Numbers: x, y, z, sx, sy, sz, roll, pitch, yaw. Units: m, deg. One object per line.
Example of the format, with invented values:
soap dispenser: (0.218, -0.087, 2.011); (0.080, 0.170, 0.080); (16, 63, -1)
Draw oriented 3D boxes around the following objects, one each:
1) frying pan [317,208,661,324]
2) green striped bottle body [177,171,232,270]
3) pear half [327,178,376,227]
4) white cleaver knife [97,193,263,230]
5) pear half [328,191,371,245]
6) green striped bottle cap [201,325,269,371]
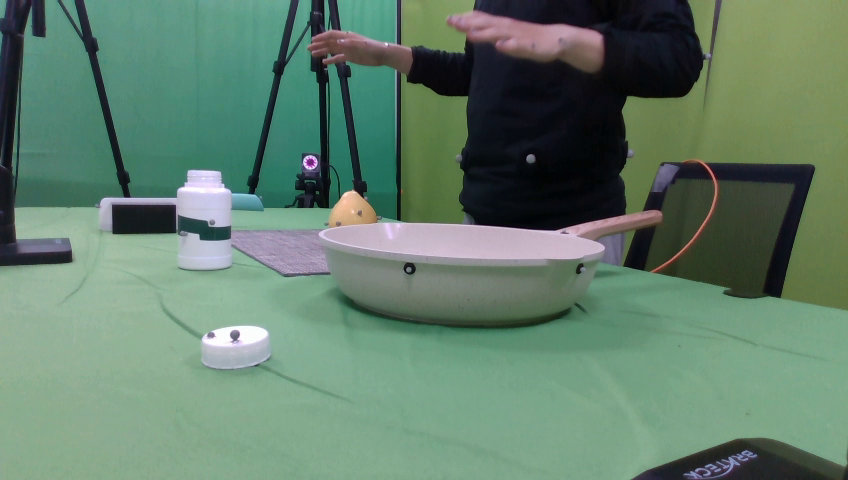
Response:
frying pan: (0.121, 0.006, 0.691); (0.490, 0.102, 0.305); (-13, 15, -33)
green striped bottle body: (-0.273, -0.026, 0.752); (0.063, 0.119, 0.063); (2, 7, 0)
pear half: (-0.109, -0.042, 0.942); (0.077, 0.110, 0.055); (-6, 10, -25)
white cleaver knife: (-0.444, -0.053, 1.121); (0.288, 0.066, 0.021); (-4, 16, -28)
pear half: (-0.124, -0.037, 0.976); (0.071, 0.088, 0.031); (-6, 12, -26)
green striped bottle cap: (-0.129, 0.073, 0.415); (0.044, 0.020, 0.044); (2, 8, 0)
